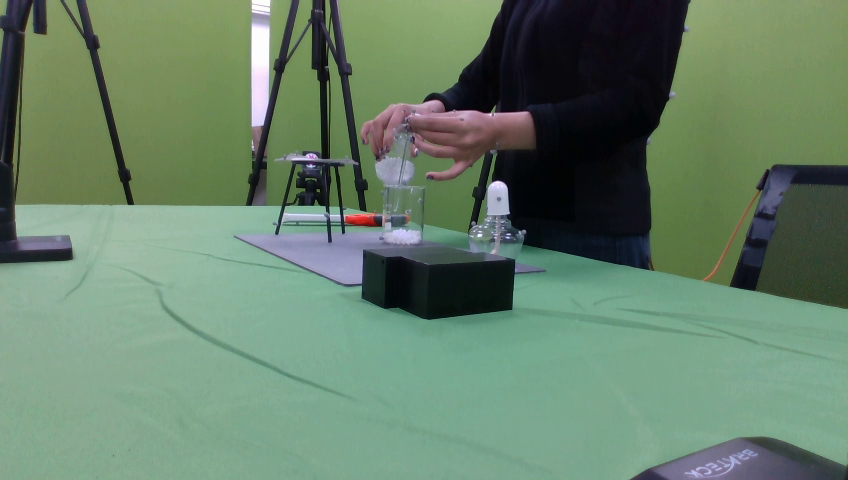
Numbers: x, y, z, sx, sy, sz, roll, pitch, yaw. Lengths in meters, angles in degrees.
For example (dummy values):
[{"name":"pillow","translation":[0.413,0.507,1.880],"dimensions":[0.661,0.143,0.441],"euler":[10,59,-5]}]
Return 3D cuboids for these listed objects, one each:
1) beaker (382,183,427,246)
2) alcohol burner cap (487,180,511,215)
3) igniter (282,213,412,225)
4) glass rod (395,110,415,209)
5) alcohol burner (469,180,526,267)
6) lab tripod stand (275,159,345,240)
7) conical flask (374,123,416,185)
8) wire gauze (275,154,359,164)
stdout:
[{"name":"beaker","translation":[-0.033,-0.044,1.008],"dimensions":[0.074,0.100,0.084],"euler":[6,8,22]},{"name":"alcohol burner cap","translation":[0.101,-0.058,0.816],"dimensions":[0.034,0.048,0.034],"euler":[-4,9,1]},{"name":"igniter","translation":[-0.159,-0.046,1.286],"dimensions":[0.278,0.025,0.057],"euler":[0,-3,-22]},{"name":"glass rod","translation":[-0.030,-0.123,0.964],"dimensions":[0.008,0.199,0.008],"euler":[6,46,-6]},{"name":"alcohol burner","translation":[0.101,-0.022,0.821],"dimensions":[0.078,0.119,0.078],"euler":[4,8,0]},{"name":"lab tripod stand","translation":[-0.181,-0.072,1.039],"dimensions":[0.148,0.131,0.148],"euler":[4,8,0]},{"name":"conical flask","translation":[-0.042,-0.151,1.026],"dimensions":[0.075,0.075,0.122],"euler":[0,-23,-12]},{"name":"wire gauze","translation":[-0.179,-0.137,1.028],"dimensions":[0.121,0.011,0.125],"euler":[4,8,0]}]
